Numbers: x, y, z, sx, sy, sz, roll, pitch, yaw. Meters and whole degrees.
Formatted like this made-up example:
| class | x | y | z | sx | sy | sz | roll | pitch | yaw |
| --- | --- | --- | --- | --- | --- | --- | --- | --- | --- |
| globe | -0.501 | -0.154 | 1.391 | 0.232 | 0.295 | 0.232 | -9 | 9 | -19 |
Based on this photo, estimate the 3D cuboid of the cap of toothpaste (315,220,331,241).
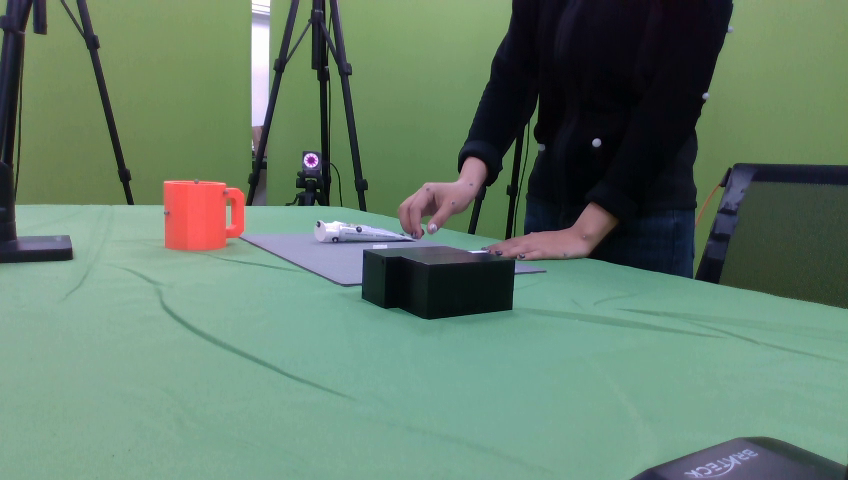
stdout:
| class | x | y | z | sx | sy | sz | roll | pitch | yaw |
| --- | --- | --- | --- | --- | --- | --- | --- | --- | --- |
| cap of toothpaste | -0.164 | -0.016 | 0.982 | 0.011 | 0.037 | 0.037 | -8 | 12 | -43 |

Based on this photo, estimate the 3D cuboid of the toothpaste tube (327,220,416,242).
| class | x | y | z | sx | sy | sz | roll | pitch | yaw |
| --- | --- | --- | --- | --- | --- | --- | --- | --- | --- |
| toothpaste tube | -0.095 | -0.012 | 1.026 | 0.166 | 0.034 | 0.055 | 2 | 13 | -33 |

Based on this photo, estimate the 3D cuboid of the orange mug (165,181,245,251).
| class | x | y | z | sx | sy | sz | roll | pitch | yaw |
| --- | --- | --- | --- | --- | --- | --- | --- | --- | --- |
| orange mug | -0.326 | -0.040 | 0.911 | 0.083 | 0.101 | 0.127 | 8 | 14 | 37 |

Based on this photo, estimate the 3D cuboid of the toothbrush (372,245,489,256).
| class | x | y | z | sx | sy | sz | roll | pitch | yaw |
| --- | --- | --- | --- | --- | --- | --- | --- | --- | --- |
| toothbrush | 0.012 | 0.016 | 0.875 | 0.183 | 0.016 | 0.014 | 1 | -6 | -22 |
